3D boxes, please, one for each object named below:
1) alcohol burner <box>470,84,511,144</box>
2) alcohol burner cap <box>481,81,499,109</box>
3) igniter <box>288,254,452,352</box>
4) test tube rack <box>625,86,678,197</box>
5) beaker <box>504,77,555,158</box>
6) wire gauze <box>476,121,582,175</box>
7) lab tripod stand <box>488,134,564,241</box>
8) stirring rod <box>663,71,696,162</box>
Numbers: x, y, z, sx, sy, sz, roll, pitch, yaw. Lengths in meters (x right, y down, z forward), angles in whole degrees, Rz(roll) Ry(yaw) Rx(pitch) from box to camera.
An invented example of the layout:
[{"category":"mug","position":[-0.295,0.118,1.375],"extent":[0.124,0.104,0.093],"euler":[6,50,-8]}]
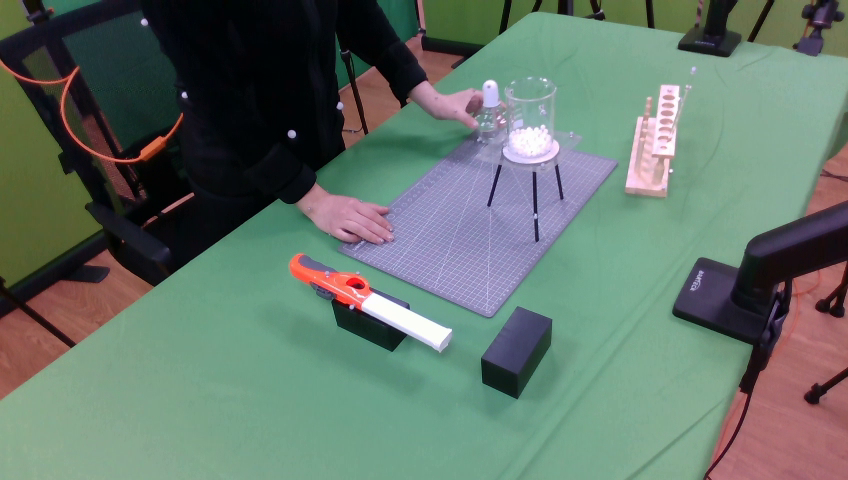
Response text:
[{"category":"alcohol burner","position":[0.125,-0.242,1.139],"extent":[0.078,0.119,0.077],"euler":[-5,42,5]},{"category":"alcohol burner cap","position":[0.121,-0.270,1.116],"extent":[0.034,0.048,0.033],"euler":[-7,37,6]},{"category":"igniter","position":[-0.083,0.079,0.818],"extent":[0.274,0.025,0.057],"euler":[23,45,27]},{"category":"test tube rack","position":[0.412,-0.184,1.088],"extent":[0.066,0.085,0.242],"euler":[9,43,18]},{"category":"beaker","position":[0.160,-0.181,0.900],"extent":[0.084,0.101,0.073],"euler":[-32,46,-27]},{"category":"wire gauze","position":[0.162,-0.142,0.929],"extent":[0.120,0.011,0.125],"euler":[19,49,32]},{"category":"lab tripod stand","position":[0.168,-0.092,0.972],"extent":[0.148,0.132,0.147],"euler":[-5,41,5]},{"category":"stirring rod","position":[0.411,-0.195,0.981],"extent":[0.014,0.177,0.006],"euler":[11,50,14]}]
